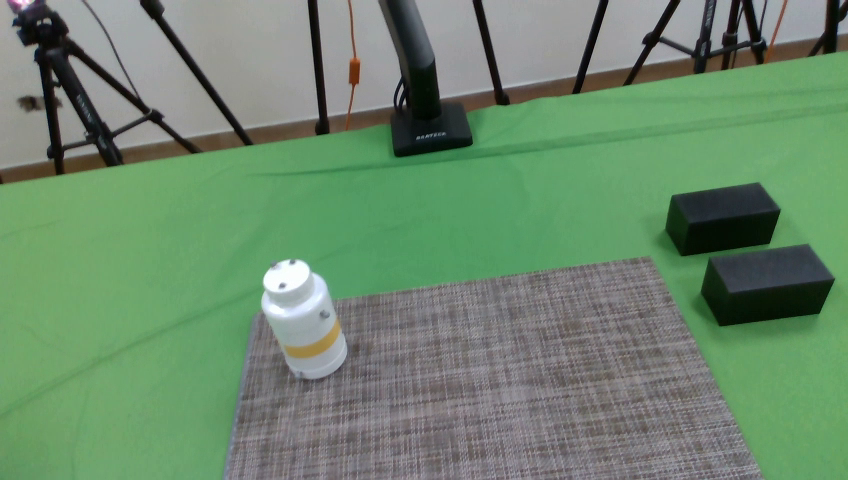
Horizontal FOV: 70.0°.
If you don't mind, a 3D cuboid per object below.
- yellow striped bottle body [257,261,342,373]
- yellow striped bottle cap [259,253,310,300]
[{"bbox_3d":[-0.123,0.071,0.593,0.063,0.121,0.062,-5,43,5],"label":"yellow striped bottle body"},{"bbox_3d":[-0.129,0.033,0.558,0.044,0.019,0.044,-7,42,6],"label":"yellow striped bottle cap"}]
